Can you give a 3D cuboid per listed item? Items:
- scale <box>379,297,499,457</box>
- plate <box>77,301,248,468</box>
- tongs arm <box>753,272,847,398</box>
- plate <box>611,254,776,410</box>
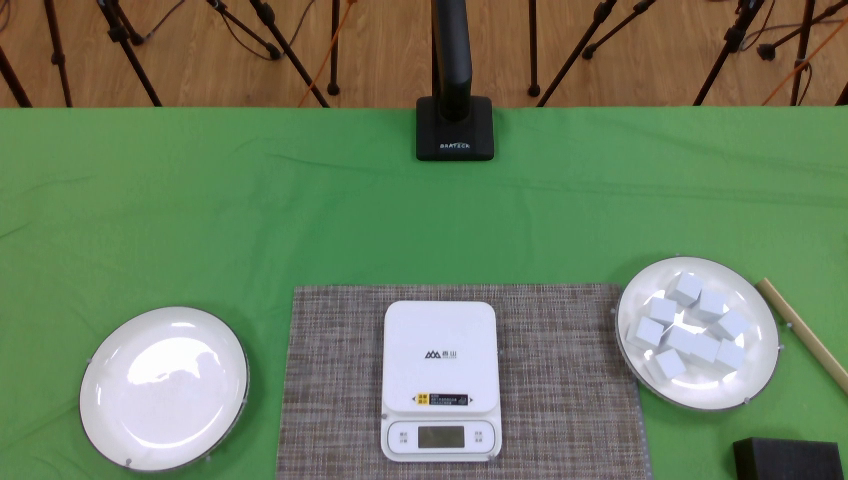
[{"bbox_3d":[0.019,0.170,0.771,0.149,0.032,0.199,0,66,0],"label":"scale"},{"bbox_3d":[-0.325,0.180,0.767,0.209,0.038,0.207,0,66,0],"label":"plate"},{"bbox_3d":[0.557,0.197,0.767,0.028,0.028,0.384,-28,69,-15],"label":"tongs arm"},{"bbox_3d":[0.347,0.120,0.796,0.208,0.039,0.206,0,66,0],"label":"plate"}]
